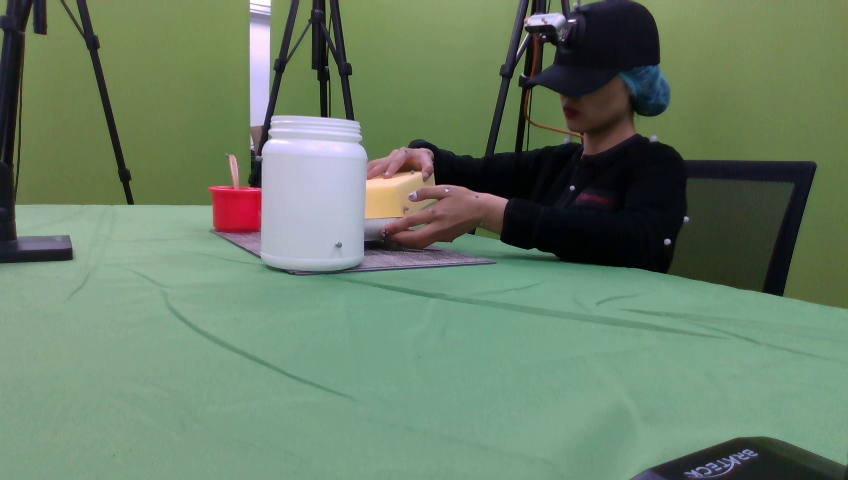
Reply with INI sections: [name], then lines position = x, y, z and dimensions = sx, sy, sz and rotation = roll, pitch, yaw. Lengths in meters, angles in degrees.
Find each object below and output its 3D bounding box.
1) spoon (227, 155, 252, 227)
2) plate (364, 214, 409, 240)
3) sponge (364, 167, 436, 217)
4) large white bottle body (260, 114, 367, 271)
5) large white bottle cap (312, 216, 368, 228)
[spoon]
position = -0.343, -0.093, 1.108
dimensions = 0.042, 0.021, 0.193
rotation = -1, 52, -22
[plate]
position = -0.127, -0.021, 0.980
dimensions = 0.209, 0.038, 0.209
rotation = -2, 3, 0
[sponge]
position = -0.064, -0.081, 1.054
dimensions = 0.118, 0.061, 0.207
rotation = -3, 13, 17
[large white bottle body]
position = -0.139, -0.061, 0.763
dimensions = 0.131, 0.184, 0.130
rotation = 3, 8, 0
[large white bottle cap]
position = -0.171, -0.038, 1.233
dimensions = 0.115, 0.018, 0.115
rotation = 2, 5, 0
